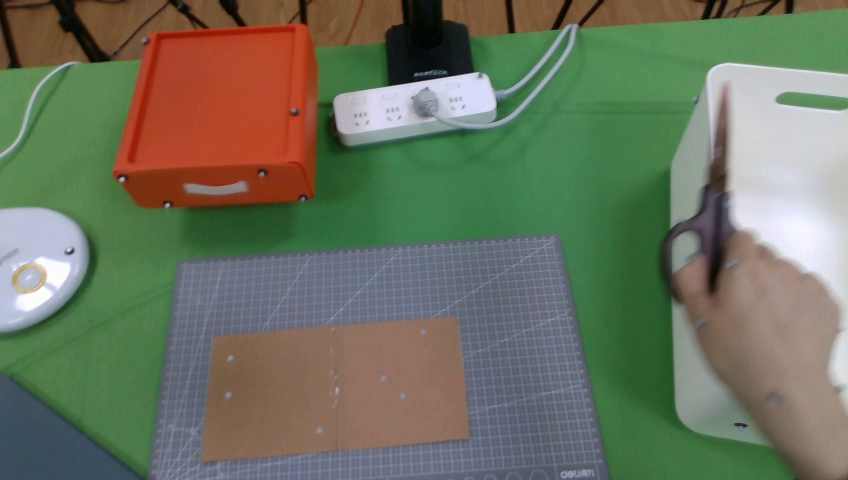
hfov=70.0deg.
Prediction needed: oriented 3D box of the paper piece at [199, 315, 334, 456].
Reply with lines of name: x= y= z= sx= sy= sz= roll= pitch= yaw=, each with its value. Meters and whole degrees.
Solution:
paper piece: x=-0.162 y=0.150 z=0.634 sx=0.136 sy=0.009 sz=0.137 roll=-5 pitch=63 yaw=2

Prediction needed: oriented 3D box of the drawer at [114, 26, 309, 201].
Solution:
drawer: x=-0.232 y=-0.151 z=0.708 sx=0.194 sy=0.074 sz=0.210 roll=-3 pitch=61 yaw=1

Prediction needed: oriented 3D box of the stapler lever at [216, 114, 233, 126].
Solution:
stapler lever: x=-0.254 y=-0.136 z=0.692 sx=0.117 sy=0.040 sz=0.027 roll=23 pitch=81 yaw=18

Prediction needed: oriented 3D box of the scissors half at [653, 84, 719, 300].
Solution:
scissors half: x=0.195 y=-0.041 z=0.438 sx=0.040 sy=0.013 sz=0.174 roll=19 pitch=71 yaw=0

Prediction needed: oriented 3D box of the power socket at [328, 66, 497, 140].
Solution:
power socket: x=-0.014 y=-0.180 z=0.796 sx=0.227 sy=0.033 sz=0.071 roll=-9 pitch=62 yaw=-4

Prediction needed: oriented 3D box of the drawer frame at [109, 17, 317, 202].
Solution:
drawer frame: x=-0.234 y=-0.154 z=0.709 sx=0.202 sy=0.083 sz=0.211 roll=-3 pitch=61 yaw=0

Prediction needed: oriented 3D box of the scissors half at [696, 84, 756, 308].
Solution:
scissors half: x=0.215 y=-0.036 z=0.439 sx=0.040 sy=0.013 sz=0.174 roll=5 pitch=73 yaw=-10

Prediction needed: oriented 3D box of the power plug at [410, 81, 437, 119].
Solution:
power plug: x=-0.001 y=-0.168 z=0.763 sx=0.035 sy=0.053 sz=0.072 roll=0 pitch=62 yaw=1

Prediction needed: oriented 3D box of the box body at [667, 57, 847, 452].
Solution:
box body: x=0.388 y=0.016 z=0.606 sx=0.254 sy=0.161 sz=0.361 roll=8 pitch=62 yaw=6

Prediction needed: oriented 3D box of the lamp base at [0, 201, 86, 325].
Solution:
lamp base: x=-0.487 y=-0.018 z=0.637 sx=0.178 sy=0.182 sz=0.160 roll=25 pitch=65 yaw=18

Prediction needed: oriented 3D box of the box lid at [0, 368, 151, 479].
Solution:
box lid: x=-0.383 y=0.308 z=0.556 sx=0.369 sy=0.015 sz=0.262 roll=28 pitch=67 yaw=15

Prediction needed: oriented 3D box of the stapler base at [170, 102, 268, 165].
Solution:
stapler base: x=-0.247 y=-0.130 z=0.717 sx=0.130 sy=0.024 sz=0.041 roll=24 pitch=81 yaw=16

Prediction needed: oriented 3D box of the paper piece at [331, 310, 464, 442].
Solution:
paper piece: x=-0.030 y=0.138 z=0.636 sx=0.135 sy=0.004 sz=0.134 roll=-3 pitch=62 yaw=0
